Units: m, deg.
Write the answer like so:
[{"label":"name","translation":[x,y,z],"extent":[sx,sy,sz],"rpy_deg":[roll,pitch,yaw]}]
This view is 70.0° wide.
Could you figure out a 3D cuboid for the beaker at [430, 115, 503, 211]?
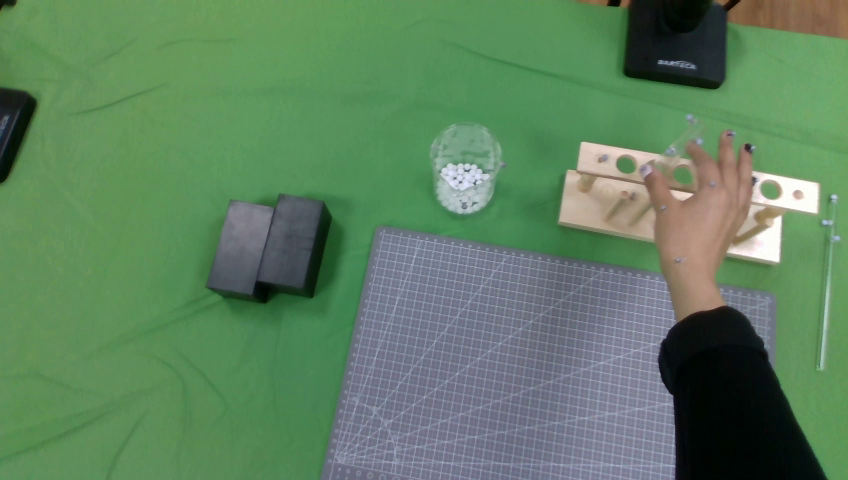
[{"label":"beaker","translation":[0.044,-0.077,0.663],"extent":[0.074,0.101,0.083],"rpy_deg":[12,75,5]}]

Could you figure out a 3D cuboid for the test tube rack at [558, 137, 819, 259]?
[{"label":"test tube rack","translation":[0.278,-0.044,0.656],"extent":[0.242,0.085,0.066],"rpy_deg":[11,74,4]}]

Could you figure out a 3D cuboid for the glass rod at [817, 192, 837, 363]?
[{"label":"glass rod","translation":[0.445,0.038,0.669],"extent":[0.008,0.008,0.199],"rpy_deg":[14,75,5]}]

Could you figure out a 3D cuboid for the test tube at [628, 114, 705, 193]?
[{"label":"test tube","translation":[0.242,-0.083,0.617],"extent":[0.017,0.151,0.017],"rpy_deg":[1,70,-3]}]
